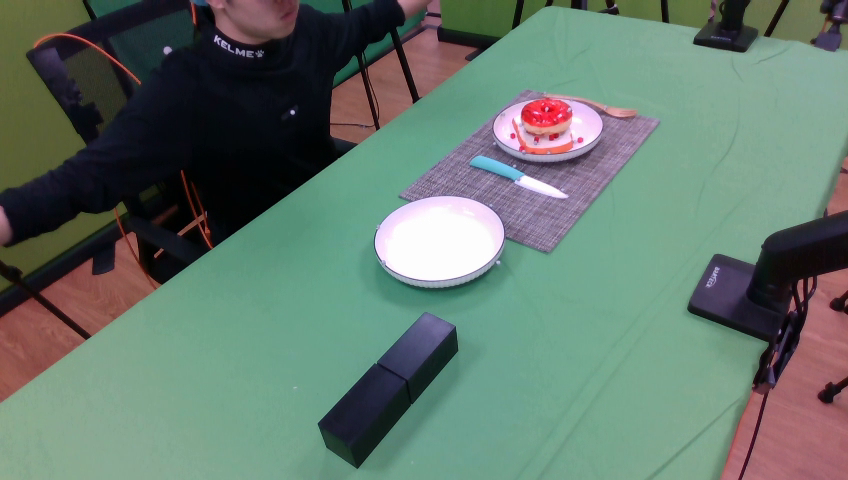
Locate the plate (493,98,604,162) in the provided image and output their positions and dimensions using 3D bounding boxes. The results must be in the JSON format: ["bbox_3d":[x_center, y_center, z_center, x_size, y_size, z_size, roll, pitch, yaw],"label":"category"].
[{"bbox_3d":[0.237,-0.206,1.158,0.209,0.038,0.208,-4,40,4],"label":"plate"}]

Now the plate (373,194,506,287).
[{"bbox_3d":[0.025,0.003,0.952,0.207,0.039,0.206,-4,41,4],"label":"plate"}]

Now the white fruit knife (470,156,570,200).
[{"bbox_3d":[0.169,-0.111,1.076,0.205,0.016,0.027,28,80,32],"label":"white fruit knife"}]

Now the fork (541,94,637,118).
[{"bbox_3d":[0.334,-0.277,1.240,0.206,0.019,0.028,22,56,27],"label":"fork"}]

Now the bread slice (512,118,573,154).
[{"bbox_3d":[0.232,-0.204,1.160,0.105,0.019,0.131,-7,39,1],"label":"bread slice"}]

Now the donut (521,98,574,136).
[{"bbox_3d":[0.232,-0.232,1.135,0.099,0.048,0.098,-4,41,4],"label":"donut"}]
